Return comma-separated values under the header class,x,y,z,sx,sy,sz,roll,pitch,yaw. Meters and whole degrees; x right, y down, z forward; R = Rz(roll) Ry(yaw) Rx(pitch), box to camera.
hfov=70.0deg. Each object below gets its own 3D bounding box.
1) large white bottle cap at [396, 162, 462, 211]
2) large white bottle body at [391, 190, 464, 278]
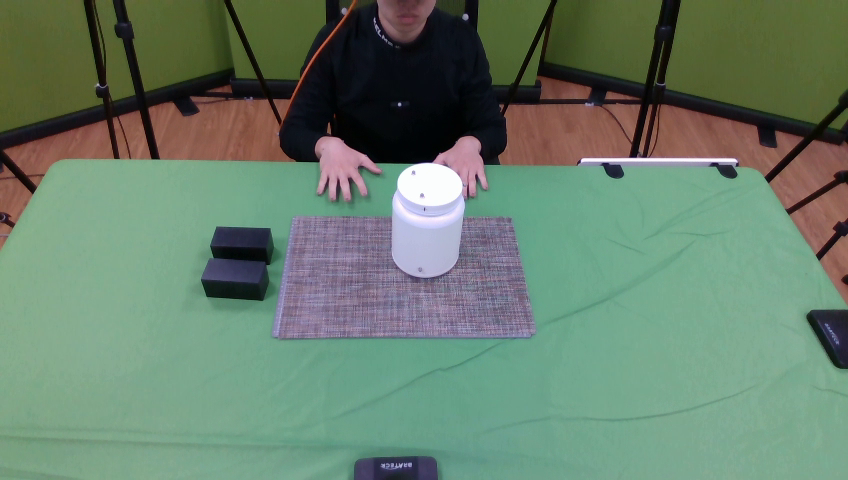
class,x,y,z,sx,sy,sz,roll,pitch,yaw
large white bottle cap,0.009,-0.094,1.053,0.115,0.018,0.114,2,46,-2
large white bottle body,0.005,-0.034,1.114,0.131,0.185,0.130,2,46,-2
